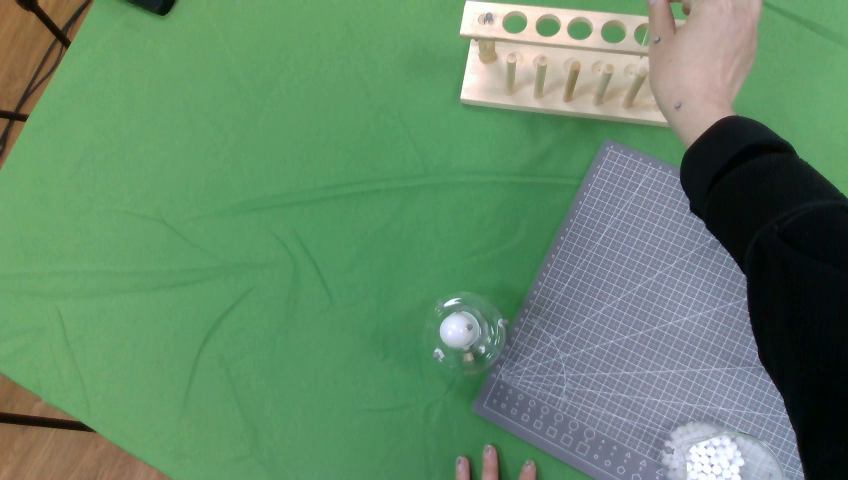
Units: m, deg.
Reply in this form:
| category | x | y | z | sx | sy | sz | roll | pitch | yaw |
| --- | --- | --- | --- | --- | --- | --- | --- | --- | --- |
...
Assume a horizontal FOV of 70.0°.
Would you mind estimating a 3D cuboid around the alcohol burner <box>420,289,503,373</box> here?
| category | x | y | z | sx | sy | sz | roll | pitch | yaw |
| --- | --- | --- | --- | --- | --- | --- | --- | --- | --- |
| alcohol burner | 0.033 | 0.081 | 0.545 | 0.078 | 0.119 | 0.077 | -1 | 79 | 6 |

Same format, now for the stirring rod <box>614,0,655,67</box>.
| category | x | y | z | sx | sy | sz | roll | pitch | yaw |
| --- | --- | --- | --- | --- | --- | --- | --- | --- | --- |
| stirring rod | 0.182 | -0.196 | 0.495 | 0.006 | 0.177 | 0.014 | -36 | 74 | -8 |

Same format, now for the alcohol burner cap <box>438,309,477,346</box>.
| category | x | y | z | sx | sy | sz | roll | pitch | yaw |
| --- | --- | --- | --- | --- | --- | --- | --- | --- | --- |
| alcohol burner cap | 0.027 | 0.074 | 0.510 | 0.034 | 0.048 | 0.034 | -1 | 84 | 9 |

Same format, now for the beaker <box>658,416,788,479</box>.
| category | x | y | z | sx | sy | sz | roll | pitch | yaw |
| --- | --- | --- | --- | --- | --- | --- | --- | --- | --- |
| beaker | 0.237 | 0.185 | 0.503 | 0.083 | 0.101 | 0.074 | 32 | 86 | 13 |

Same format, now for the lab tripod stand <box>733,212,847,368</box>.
| category | x | y | z | sx | sy | sz | roll | pitch | yaw |
| --- | --- | --- | --- | --- | --- | --- | --- | --- | --- |
| lab tripod stand | 0.328 | 0.038 | 0.495 | 0.148 | 0.132 | 0.148 | -1 | 83 | 7 |

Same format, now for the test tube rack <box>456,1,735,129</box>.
| category | x | y | z | sx | sy | sz | roll | pitch | yaw |
| --- | --- | --- | --- | --- | --- | --- | --- | --- | --- |
| test tube rack | 0.153 | -0.166 | 0.579 | 0.242 | 0.085 | 0.066 | 9 | 82 | 9 |
